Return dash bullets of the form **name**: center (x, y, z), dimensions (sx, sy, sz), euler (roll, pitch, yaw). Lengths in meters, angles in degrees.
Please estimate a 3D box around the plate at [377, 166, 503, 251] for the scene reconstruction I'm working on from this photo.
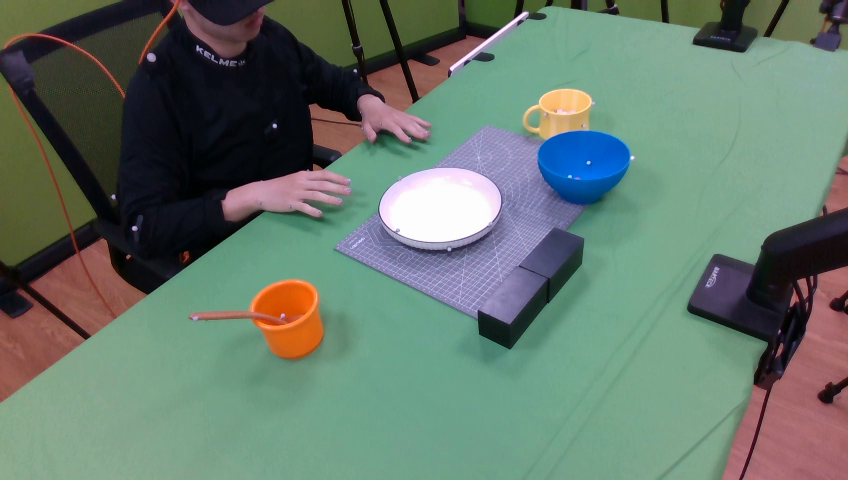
- **plate**: center (0.027, -0.050, 1.007), dimensions (0.209, 0.038, 0.208), euler (-4, 41, 4)

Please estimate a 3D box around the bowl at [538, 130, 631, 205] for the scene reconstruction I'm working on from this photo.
- **bowl**: center (0.265, -0.113, 1.014), dimensions (0.151, 0.077, 0.150), euler (-4, 40, 4)

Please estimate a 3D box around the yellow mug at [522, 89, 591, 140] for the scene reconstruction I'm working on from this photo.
- **yellow mug**: center (0.257, -0.239, 1.178), dimensions (0.131, 0.064, 0.099), euler (-6, 41, 3)

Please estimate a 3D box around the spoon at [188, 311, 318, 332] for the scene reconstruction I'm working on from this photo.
- **spoon**: center (-0.216, 0.102, 0.783), dimensions (0.041, 0.195, 0.021), euler (27, 95, 39)
